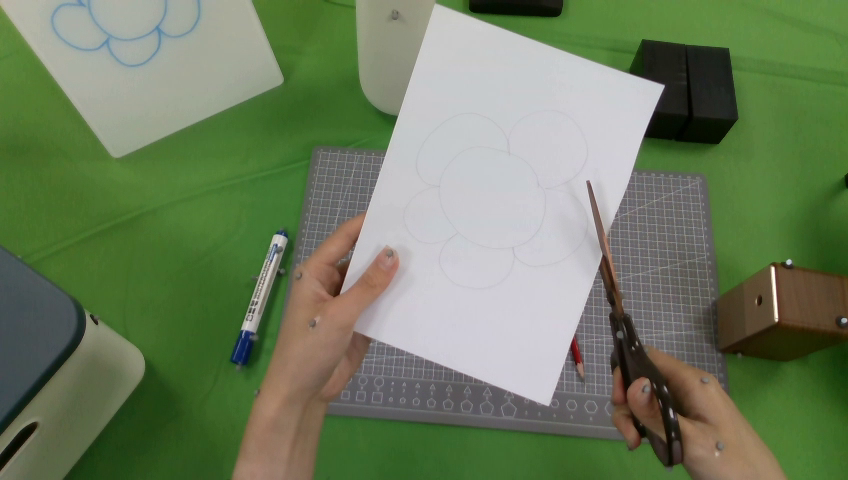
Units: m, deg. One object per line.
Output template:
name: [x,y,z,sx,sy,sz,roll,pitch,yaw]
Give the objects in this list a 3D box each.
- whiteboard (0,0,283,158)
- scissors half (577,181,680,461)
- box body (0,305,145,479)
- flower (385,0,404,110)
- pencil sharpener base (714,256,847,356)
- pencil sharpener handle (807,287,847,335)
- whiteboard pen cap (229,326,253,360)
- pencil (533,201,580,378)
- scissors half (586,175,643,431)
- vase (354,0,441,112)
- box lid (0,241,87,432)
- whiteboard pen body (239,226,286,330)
whiteboard: [-0.321,-0.284,0.643,0.217,0.308,0.142,-28,50,-11]
scissors half: [0.120,0.043,0.365,0.013,0.040,0.174,-14,71,-1]
box body: [-0.471,0.096,0.527,0.362,0.161,0.253,30,70,11]
flower: [-0.037,-0.273,0.574,0.044,0.365,0.038,-2,49,2]
pencil sharpener base: [0.336,0.066,0.573,0.077,0.107,0.061,9,66,0]
pencil sharpener handle: [0.387,0.070,0.561,0.030,0.068,0.035,9,61,0]
whiteboard pen cap: [-0.180,0.101,0.601,0.018,0.018,0.033,11,63,5]
pencil: [0.139,0.047,0.632,0.012,0.012,0.192,-8,69,-3]
scissors half: [0.121,0.043,0.389,0.013,0.040,0.176,-14,107,4]
vase: [-0.031,-0.227,0.645,0.098,0.201,0.097,0,66,1]
box lid: [-0.473,0.065,0.459,0.370,0.015,0.262,30,70,11]
whiteboard pen body: [-0.169,0.049,0.626,0.017,0.017,0.140,11,66,5]
